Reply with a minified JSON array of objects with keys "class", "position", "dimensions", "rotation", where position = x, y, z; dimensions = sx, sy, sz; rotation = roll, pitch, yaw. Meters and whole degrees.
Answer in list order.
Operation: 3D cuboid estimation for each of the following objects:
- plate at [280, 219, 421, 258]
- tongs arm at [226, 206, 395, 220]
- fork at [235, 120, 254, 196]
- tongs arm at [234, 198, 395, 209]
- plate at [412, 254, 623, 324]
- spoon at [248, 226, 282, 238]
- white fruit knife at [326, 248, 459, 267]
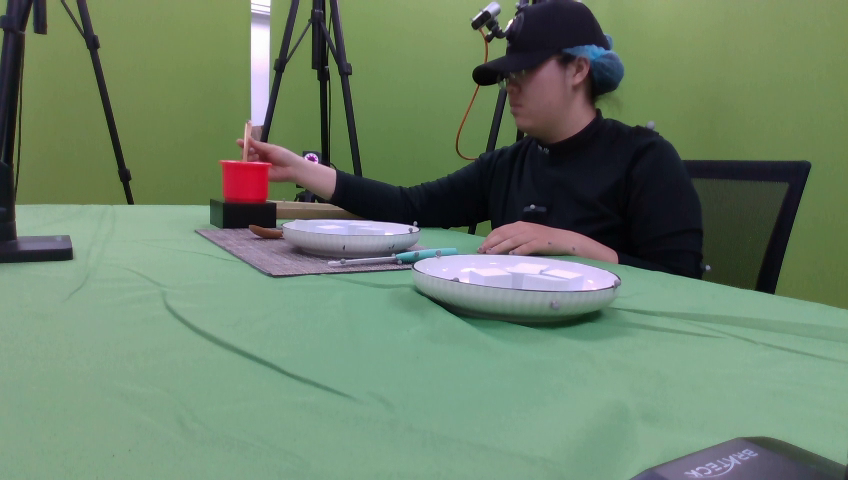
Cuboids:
[{"class":"plate","position":[-0.108,-0.002,0.902],"dimensions":[0.208,0.039,0.207],"rotation":[3,7,0]},{"class":"tongs arm","position":[-0.248,-0.062,1.383],"dimensions":[0.389,0.028,0.028],"rotation":[0,5,-21]},{"class":"fork","position":[-0.355,-0.166,1.205],"dimensions":[0.028,0.206,0.018],"rotation":[-3,-32,-3]},{"class":"tongs arm","position":[-0.263,-0.076,1.460],"dimensions":[0.386,0.026,0.050],"rotation":[3,8,-8]},{"class":"plate","position":[0.090,0.047,0.609],"dimensions":[0.209,0.038,0.209],"rotation":[2,7,0]},{"class":"spoon","position":[-0.198,-0.015,1.024],"dimensions":[0.195,0.021,0.041],"rotation":[-2,-9,-30]},{"class":"white fruit knife","position":[-0.034,0.026,0.807],"dimensions":[0.208,0.016,0.027],"rotation":[-4,-19,-34]}]
